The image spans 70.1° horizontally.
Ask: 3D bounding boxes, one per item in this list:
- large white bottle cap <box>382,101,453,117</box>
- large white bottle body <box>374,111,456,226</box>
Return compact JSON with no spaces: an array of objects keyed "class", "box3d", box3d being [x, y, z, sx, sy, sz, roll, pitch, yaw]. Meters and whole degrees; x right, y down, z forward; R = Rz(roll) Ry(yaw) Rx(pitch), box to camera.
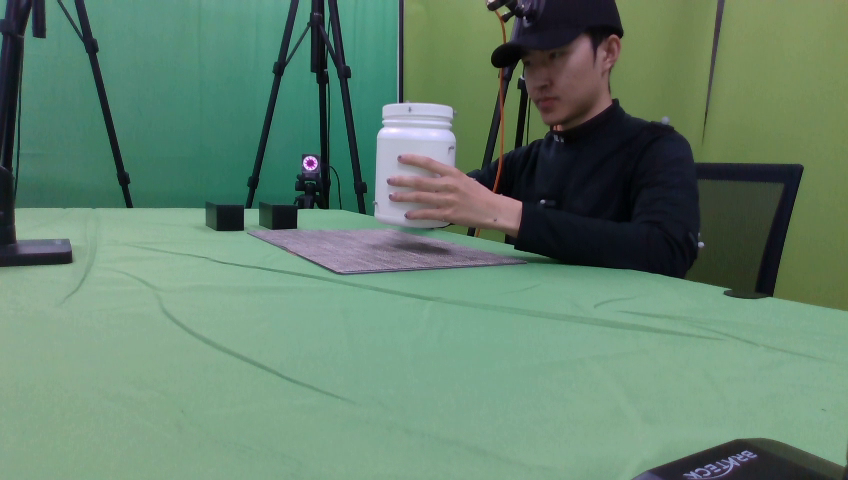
[{"class":"large white bottle cap","box3d":[-0.011,-0.209,0.979,0.115,0.018,0.115,1,5,0]},{"class":"large white bottle body","box3d":[-0.014,-0.122,0.993,0.131,0.184,0.130,2,10,0]}]
